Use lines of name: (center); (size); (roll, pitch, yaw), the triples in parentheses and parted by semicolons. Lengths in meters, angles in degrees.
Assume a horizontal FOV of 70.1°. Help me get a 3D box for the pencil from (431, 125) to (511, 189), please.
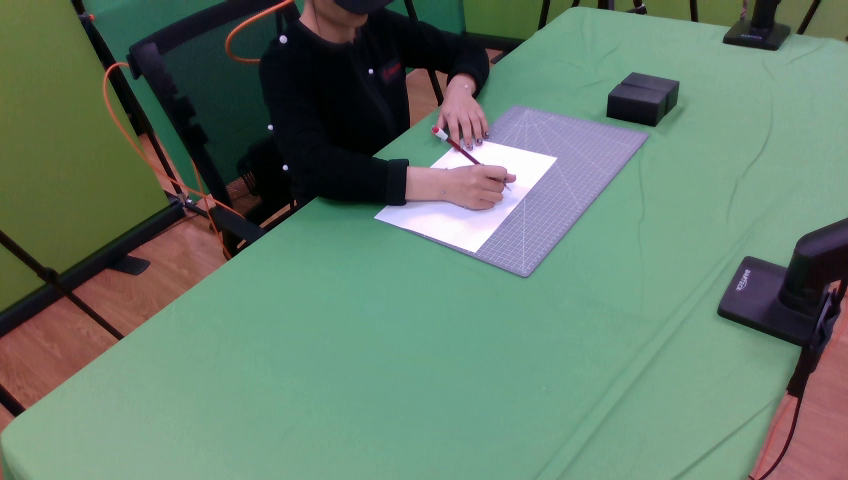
pencil: (0.083, -0.135, 1.013); (0.012, 0.196, 0.012); (-34, 38, 32)
